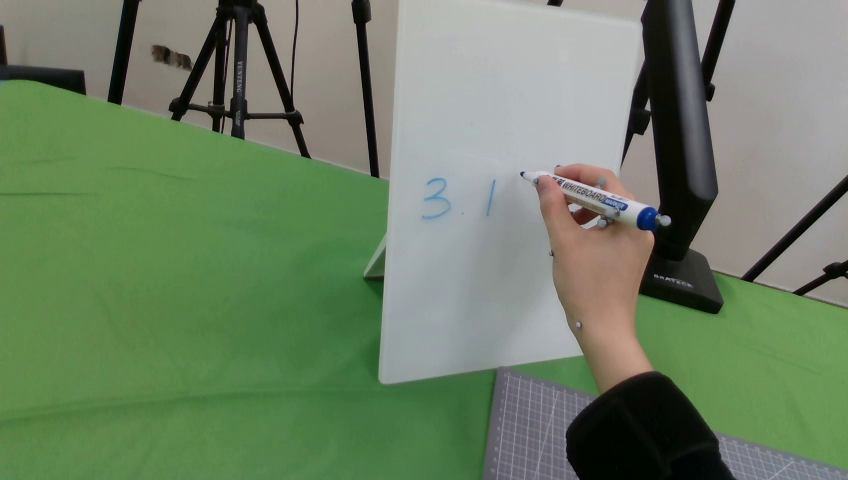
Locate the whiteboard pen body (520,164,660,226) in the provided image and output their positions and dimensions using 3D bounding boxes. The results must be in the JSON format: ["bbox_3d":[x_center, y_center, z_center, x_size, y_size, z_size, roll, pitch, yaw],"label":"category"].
[{"bbox_3d":[0.108,-0.036,0.425,0.017,0.017,0.139,-4,20,-26],"label":"whiteboard pen body"}]

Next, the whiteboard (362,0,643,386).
[{"bbox_3d":[0.046,-0.053,0.549,0.218,0.306,0.142,-3,17,-24],"label":"whiteboard"}]
